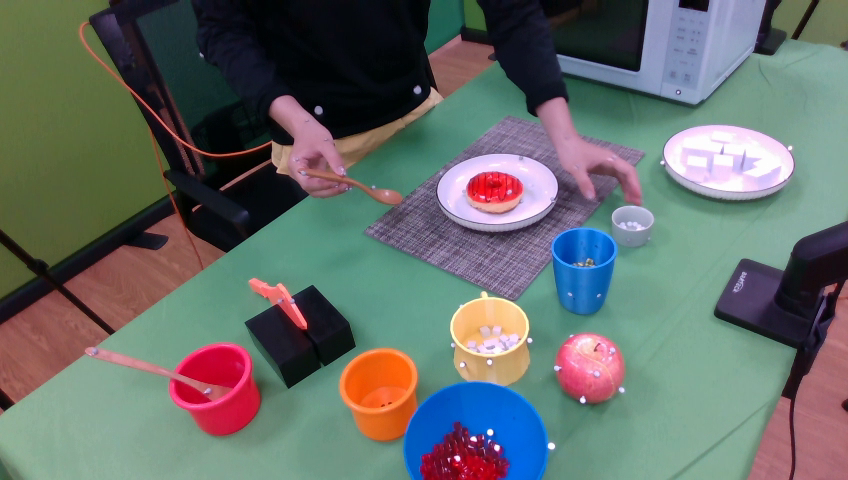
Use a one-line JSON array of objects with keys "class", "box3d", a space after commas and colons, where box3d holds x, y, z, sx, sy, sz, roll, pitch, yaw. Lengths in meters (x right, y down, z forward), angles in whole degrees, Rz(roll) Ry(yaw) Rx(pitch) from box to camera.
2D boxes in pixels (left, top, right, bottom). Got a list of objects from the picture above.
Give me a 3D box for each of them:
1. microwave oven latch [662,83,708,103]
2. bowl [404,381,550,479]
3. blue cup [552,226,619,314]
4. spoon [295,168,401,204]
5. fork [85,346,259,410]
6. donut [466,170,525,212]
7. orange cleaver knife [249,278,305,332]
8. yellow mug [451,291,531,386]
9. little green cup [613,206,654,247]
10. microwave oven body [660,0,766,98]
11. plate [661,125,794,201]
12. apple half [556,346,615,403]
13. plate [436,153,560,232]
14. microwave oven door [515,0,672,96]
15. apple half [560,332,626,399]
[{"class": "microwave oven latch", "box3d": [0.517, -0.296, 1.204, 0.078, 0.029, 0.030, 27, 52, 35]}, {"class": "bowl", "box3d": [0.058, 0.235, 0.645, 0.151, 0.077, 0.150, -4, 39, 4]}, {"class": "blue cup", "box3d": [0.218, 0.047, 0.825, 0.092, 0.101, 0.092, -6, 39, 5]}, {"class": "spoon", "box3d": [-0.106, -0.081, 0.881, 0.195, 0.021, 0.041, 17, 25, -48]}, {"class": "fork", "box3d": [-0.298, 0.166, 0.728, 0.209, 0.018, 0.028, 28, 46, -23]}, {"class": "donut", "box3d": [0.121, -0.083, 1.019, 0.099, 0.048, 0.098, -4, 39, 3]}, {"class": "orange cleaver knife", "box3d": [-0.210, 0.089, 0.855, 0.012, 0.077, 0.210, -28, 15, -25]}, {"class": "yellow mug", "box3d": [0.086, 0.120, 0.786, 0.100, 0.064, 0.130, -7, 39, 1]}, {"class": "little green cup", "box3d": [0.322, -0.019, 0.936, 0.061, 0.039, 0.061, -4, 40, 4]}, {"class": "microwave oven body", "box3d": [0.473, -0.513, 1.317, 0.438, 0.261, 0.327, 26, 51, 34]}, {"class": "plate", "box3d": [0.514, -0.128, 1.035, 0.207, 0.039, 0.206, -4, 40, 4]}, {"class": "apple half", "box3d": [0.181, 0.167, 0.709, 0.080, 0.081, 0.033, 29, 50, 35]}, {"class": "plate", "box3d": [0.125, -0.078, 1.029, 0.209, 0.038, 0.208, -4, 40, 4]}, {"class": "microwave oven door", "box3d": [0.344, -0.455, 1.260, 0.353, 0.245, 0.039, 26, 51, 33]}, {"class": "apple half", "box3d": [0.209, 0.147, 0.730, 0.080, 0.075, 0.053, 26, 48, 38]}]
